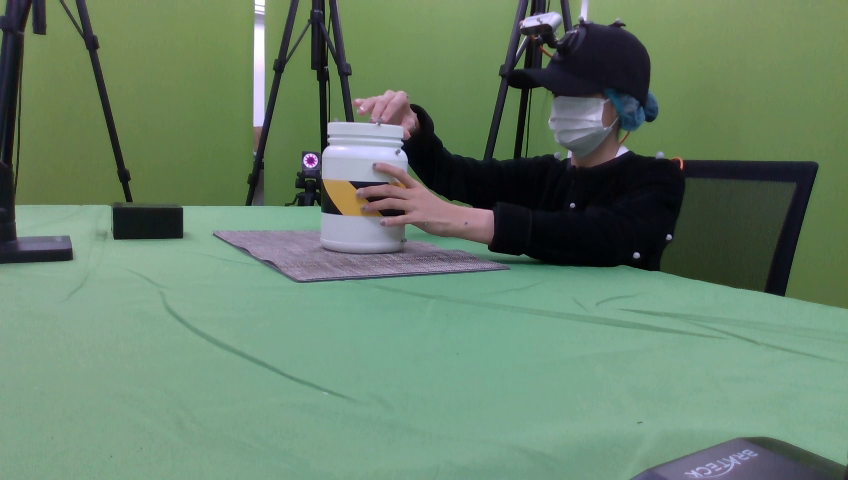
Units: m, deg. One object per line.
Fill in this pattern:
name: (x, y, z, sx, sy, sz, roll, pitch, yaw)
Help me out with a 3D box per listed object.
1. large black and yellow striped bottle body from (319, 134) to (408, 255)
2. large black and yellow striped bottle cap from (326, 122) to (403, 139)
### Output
large black and yellow striped bottle body: (-0.092, -0.076, 0.920, 0.131, 0.184, 0.130, 3, 7, 0)
large black and yellow striped bottle cap: (-0.089, -0.163, 0.909, 0.115, 0.019, 0.115, 4, 7, 0)
